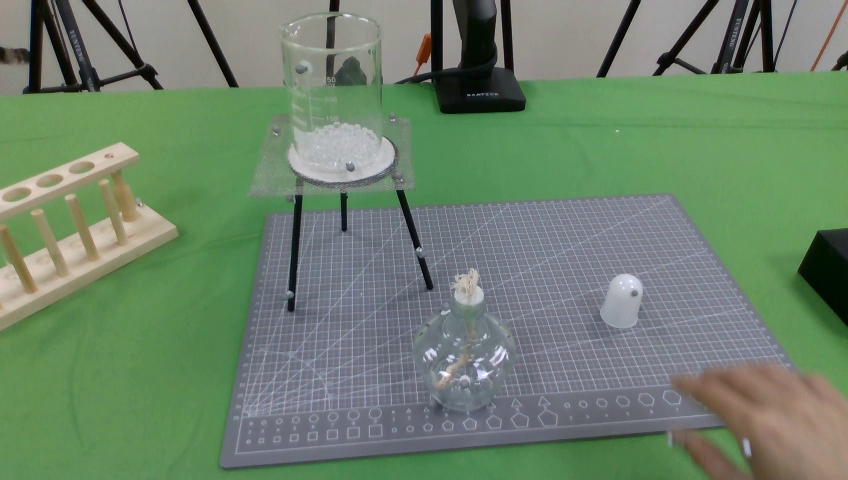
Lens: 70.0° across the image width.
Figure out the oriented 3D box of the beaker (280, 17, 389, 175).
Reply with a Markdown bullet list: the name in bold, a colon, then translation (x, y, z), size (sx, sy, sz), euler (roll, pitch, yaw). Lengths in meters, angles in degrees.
- **beaker**: translation (-0.069, -0.108, 0.460), size (0.083, 0.101, 0.074), euler (23, 43, 22)

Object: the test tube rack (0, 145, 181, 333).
- **test tube rack**: translation (-0.350, 0.008, 0.536), size (0.066, 0.086, 0.242), euler (28, 46, 30)

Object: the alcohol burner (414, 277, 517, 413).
- **alcohol burner**: translation (0.031, 0.070, 0.440), size (0.078, 0.120, 0.077), euler (1, 41, -1)

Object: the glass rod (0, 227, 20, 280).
- **glass rod**: translation (-0.371, -0.050, 0.502), size (0.008, 0.201, 0.008), euler (1, 31, 0)

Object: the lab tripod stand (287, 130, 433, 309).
- **lab tripod stand**: translation (-0.061, -0.018, 0.533), size (0.148, 0.132, 0.147), euler (2, 38, -1)

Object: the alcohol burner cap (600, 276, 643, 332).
- **alcohol burner cap**: translation (0.173, 0.053, 0.523), size (0.034, 0.048, 0.033), euler (1, 39, 0)

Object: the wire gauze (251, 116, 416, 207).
- **wire gauze**: translation (-0.069, -0.068, 0.489), size (0.121, 0.011, 0.124), euler (-1, 41, -3)
